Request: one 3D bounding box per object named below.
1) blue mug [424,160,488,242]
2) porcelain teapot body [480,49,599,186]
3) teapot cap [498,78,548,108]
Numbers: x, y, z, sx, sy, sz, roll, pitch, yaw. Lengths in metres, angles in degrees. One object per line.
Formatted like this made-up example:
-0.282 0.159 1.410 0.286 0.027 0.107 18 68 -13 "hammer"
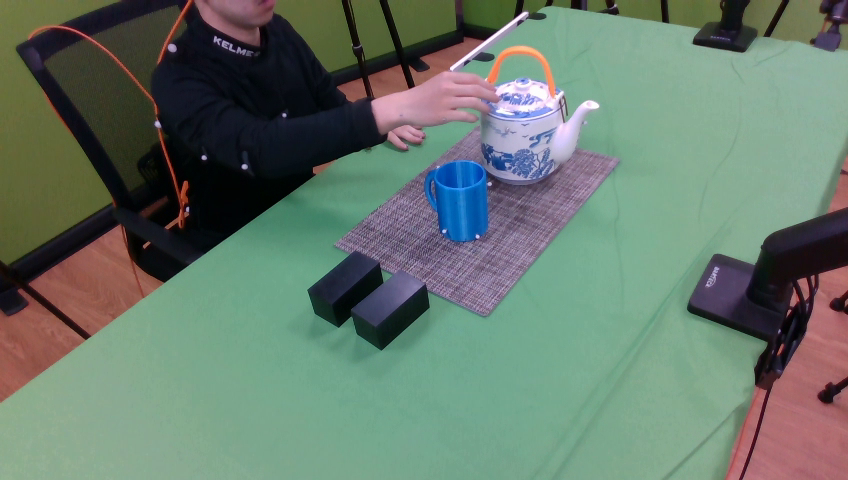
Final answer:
0.047 -0.067 0.971 0.115 0.106 0.082 22 49 30 "blue mug"
0.193 -0.208 1.023 0.204 0.226 0.145 17 46 25 "porcelain teapot body"
0.165 -0.246 1.010 0.085 0.044 0.084 -4 44 5 "teapot cap"
